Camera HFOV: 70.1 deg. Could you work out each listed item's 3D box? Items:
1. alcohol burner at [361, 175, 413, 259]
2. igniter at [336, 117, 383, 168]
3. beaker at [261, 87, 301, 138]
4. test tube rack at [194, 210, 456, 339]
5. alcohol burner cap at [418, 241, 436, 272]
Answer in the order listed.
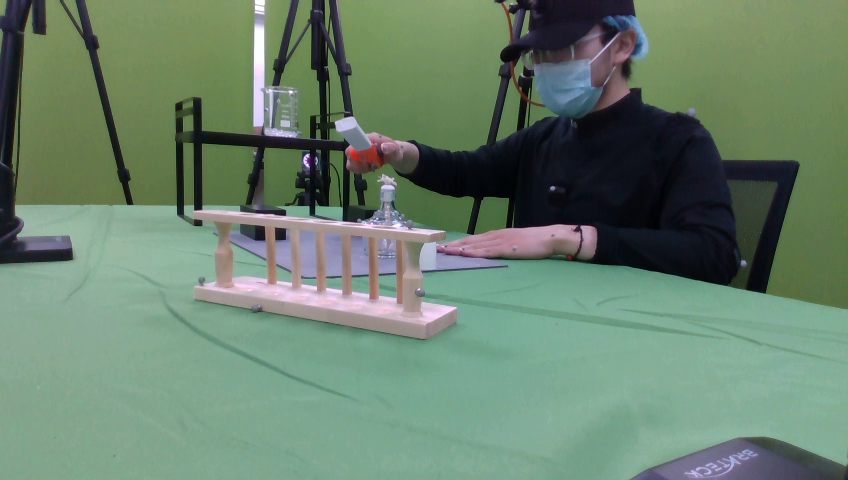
[{"bbox_3d":[-0.054,-0.033,0.870,0.078,0.119,0.078,1,9,0],"label":"alcohol burner"},{"bbox_3d":[-0.104,-0.158,1.021,0.057,0.025,0.277,-14,-5,2],"label":"igniter"},{"bbox_3d":[-0.298,-0.263,1.255,0.084,0.100,0.073,-4,9,-40],"label":"beaker"},{"bbox_3d":[-0.093,0.023,0.546,0.241,0.085,0.067,6,8,25],"label":"test tube rack"},{"bbox_3d":[0.000,0.015,0.787,0.034,0.048,0.034,4,7,0],"label":"alcohol burner cap"}]
